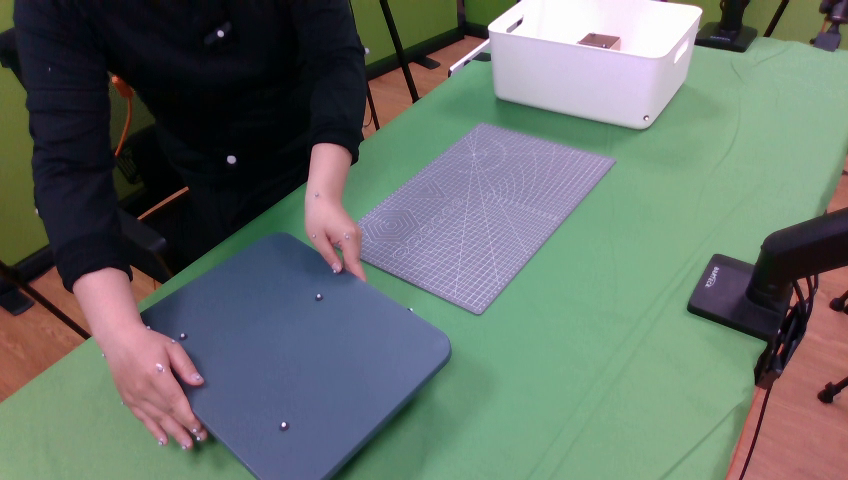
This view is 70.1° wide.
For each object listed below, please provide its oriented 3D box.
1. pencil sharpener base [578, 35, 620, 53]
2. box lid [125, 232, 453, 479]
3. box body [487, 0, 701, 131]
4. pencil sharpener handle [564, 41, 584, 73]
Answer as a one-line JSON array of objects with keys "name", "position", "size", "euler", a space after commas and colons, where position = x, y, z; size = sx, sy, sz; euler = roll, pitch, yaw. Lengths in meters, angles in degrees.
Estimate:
[{"name": "pencil sharpener base", "position": [0.362, -0.367, 1.273], "size": [0.076, 0.107, 0.061], "euler": [20, 48, 30]}, {"name": "box lid", "position": [-0.174, 0.125, 0.750], "size": [0.368, 0.015, 0.264], "euler": [28, 51, 33]}, {"name": "box body", "position": [0.345, -0.379, 1.257], "size": [0.361, 0.161, 0.255], "euler": [20, 48, 29]}, {"name": "pencil sharpener handle", "position": [0.318, -0.391, 1.288], "size": [0.030, 0.068, 0.036], "euler": [20, 39, 30]}]
